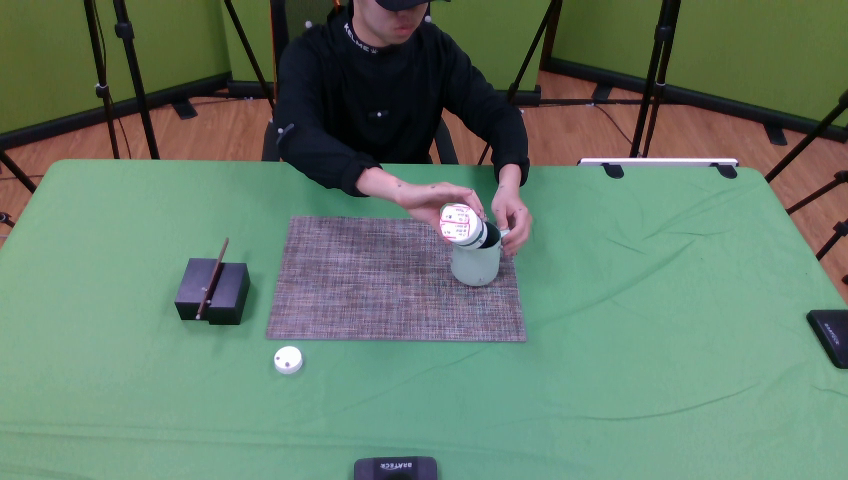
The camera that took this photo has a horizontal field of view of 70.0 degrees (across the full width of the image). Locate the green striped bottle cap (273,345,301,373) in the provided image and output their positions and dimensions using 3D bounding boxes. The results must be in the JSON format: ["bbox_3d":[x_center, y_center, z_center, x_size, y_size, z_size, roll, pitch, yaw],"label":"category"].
[{"bbox_3d":[-0.225,0.195,0.997,0.044,0.020,0.044,1,50,-1],"label":"green striped bottle cap"}]

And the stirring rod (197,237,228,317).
[{"bbox_3d":[-0.363,0.060,1.047,0.006,0.014,0.175,7,46,-3],"label":"stirring rod"}]

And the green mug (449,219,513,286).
[{"bbox_3d":[0.110,0.018,1.126,0.125,0.105,0.092,-19,50,-21],"label":"green mug"}]

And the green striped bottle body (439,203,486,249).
[{"bbox_3d":[0.068,-0.020,1.019,0.063,0.119,0.063,-2,81,15],"label":"green striped bottle body"}]
